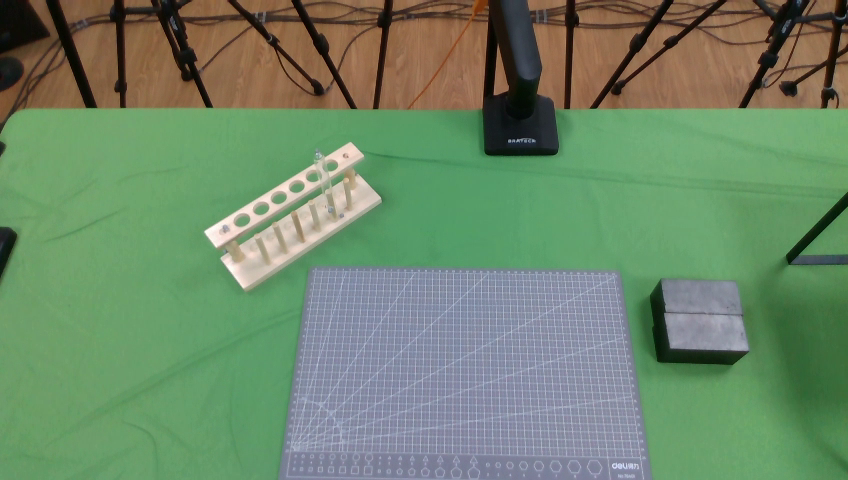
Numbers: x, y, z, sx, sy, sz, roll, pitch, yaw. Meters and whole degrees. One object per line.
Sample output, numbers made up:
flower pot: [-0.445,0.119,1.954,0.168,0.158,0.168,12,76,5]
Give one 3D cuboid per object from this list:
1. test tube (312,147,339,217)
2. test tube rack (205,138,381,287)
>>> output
test tube: [-0.137,-0.078,0.844,0.017,0.151,0.017,-1,59,1]
test tube rack: [-0.181,-0.042,0.876,0.242,0.086,0.066,-36,65,-18]
